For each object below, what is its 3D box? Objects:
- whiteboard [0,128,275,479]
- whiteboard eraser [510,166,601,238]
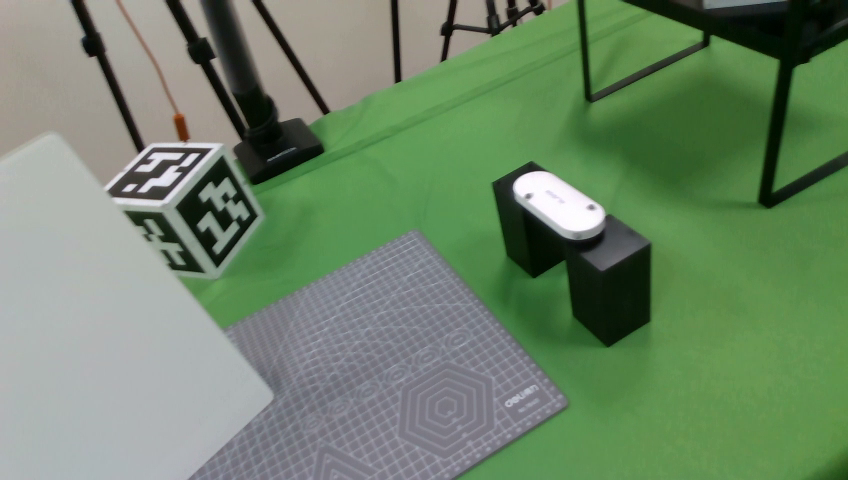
[{"bbox_3d":[-0.324,0.093,0.529,0.217,0.308,0.143,-43,28,-25],"label":"whiteboard"},{"bbox_3d":[0.114,-0.036,0.538,0.041,0.019,0.100,-28,43,-14],"label":"whiteboard eraser"}]
